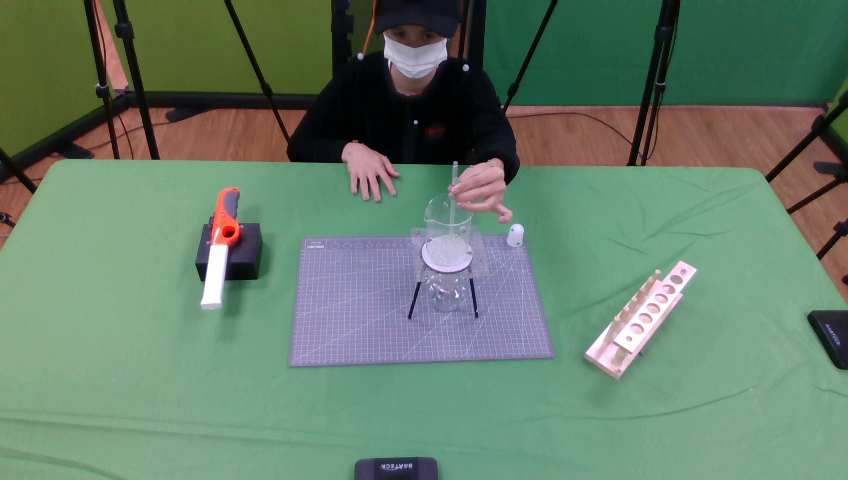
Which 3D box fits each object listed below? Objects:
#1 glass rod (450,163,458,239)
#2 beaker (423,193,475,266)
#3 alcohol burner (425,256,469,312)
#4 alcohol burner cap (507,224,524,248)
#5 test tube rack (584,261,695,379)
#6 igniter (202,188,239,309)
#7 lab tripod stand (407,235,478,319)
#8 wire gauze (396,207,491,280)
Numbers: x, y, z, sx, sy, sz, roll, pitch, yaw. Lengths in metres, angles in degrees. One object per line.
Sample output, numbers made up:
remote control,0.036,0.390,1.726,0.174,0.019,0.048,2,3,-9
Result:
glass rod,0.046,-0.054,0.936,0.008,0.200,0.008,0,59,1
beaker,0.036,-0.013,0.974,0.084,0.101,0.073,-18,48,-19
alcohol burner,0.041,0.072,1.065,0.078,0.120,0.077,1,46,-1
alcohol burner cap,0.184,-0.010,1.206,0.034,0.048,0.033,0,45,0
test tube rack,0.380,0.127,1.062,0.066,0.085,0.242,34,53,26
igniter,-0.367,0.006,1.095,0.057,0.025,0.274,-2,49,-7
lab tripod stand,0.032,0.065,1.057,0.148,0.132,0.147,1,45,-1
wire gauze,0.032,0.006,1.001,0.125,0.011,0.120,-20,52,-16
